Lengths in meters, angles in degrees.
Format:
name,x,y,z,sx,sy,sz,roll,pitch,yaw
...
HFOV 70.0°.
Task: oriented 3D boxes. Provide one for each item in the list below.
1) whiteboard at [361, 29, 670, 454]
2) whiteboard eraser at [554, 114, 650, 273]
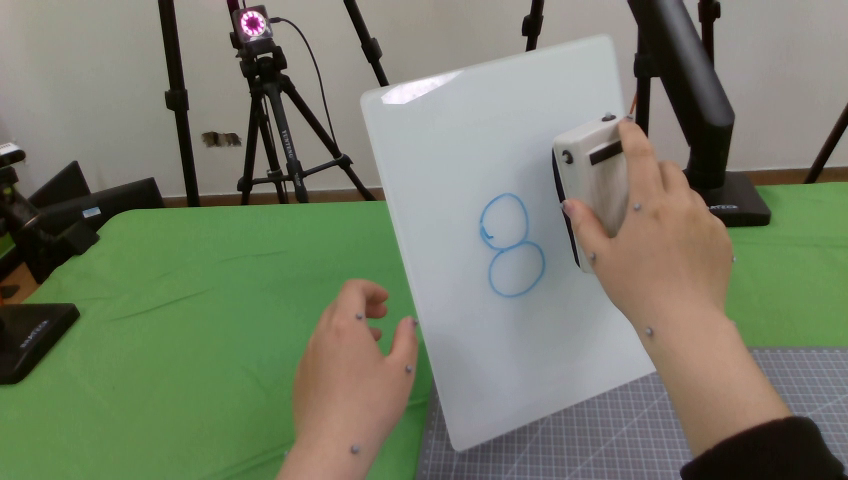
name,x,y,z,sx,sy,sz,roll,pitch,yaw
whiteboard,0.072,-0.007,0.559,0.217,0.307,0.143,-17,14,-13
whiteboard eraser,0.134,-0.035,0.462,0.055,0.113,0.041,-24,21,-17
